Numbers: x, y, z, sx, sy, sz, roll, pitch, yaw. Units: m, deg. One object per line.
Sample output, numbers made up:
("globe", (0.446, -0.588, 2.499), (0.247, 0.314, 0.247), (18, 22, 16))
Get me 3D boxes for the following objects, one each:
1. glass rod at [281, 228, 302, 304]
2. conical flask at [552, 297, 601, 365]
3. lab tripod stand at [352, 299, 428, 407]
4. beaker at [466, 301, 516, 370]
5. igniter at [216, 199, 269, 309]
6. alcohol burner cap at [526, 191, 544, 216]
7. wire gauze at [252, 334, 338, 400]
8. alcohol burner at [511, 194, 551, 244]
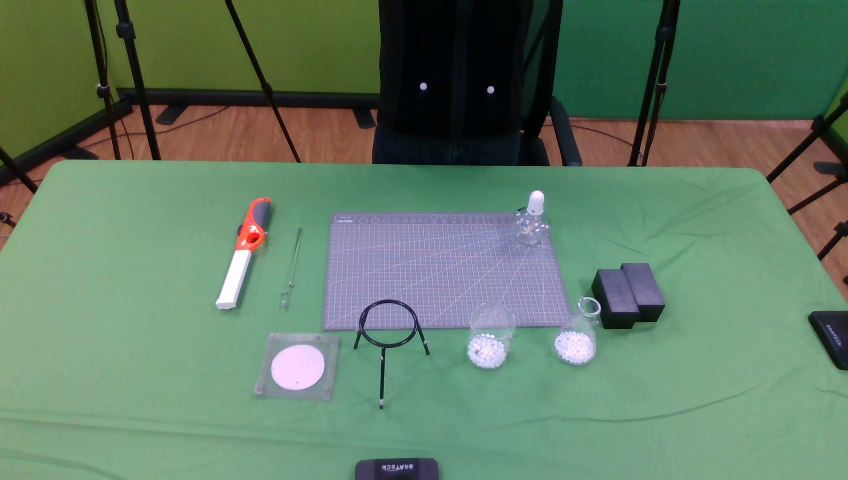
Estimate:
("glass rod", (-0.250, 0.045, 1.146), (0.008, 0.008, 0.198), (2, 43, -1))
("conical flask", (0.261, 0.147, 1.009), (0.075, 0.122, 0.075), (2, 46, -2))
("lab tripod stand", (-0.056, 0.166, 0.958), (0.148, 0.132, 0.147), (3, 44, -2))
("beaker", (0.106, 0.162, 0.998), (0.084, 0.101, 0.073), (-31, 55, -29))
("igniter", (-0.342, 0.016, 1.153), (0.057, 0.025, 0.275), (-3, 45, 7))
("alcohol burner cap", (0.216, -0.073, 1.170), (0.034, 0.048, 0.033), (-1, 42, 1))
("wire gauze", (-0.209, 0.204, 0.996), (0.125, 0.011, 0.120), (3, 45, 1))
("alcohol burner", (0.215, -0.048, 1.196), (0.078, 0.119, 0.077), (4, 46, -4))
